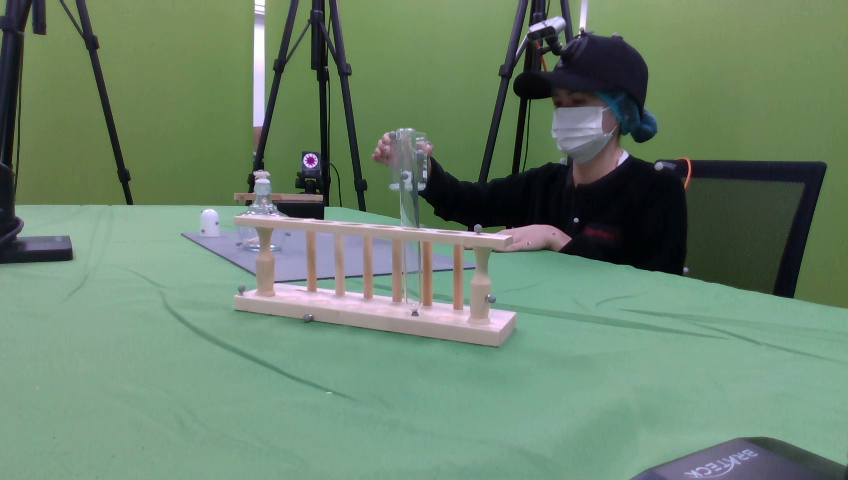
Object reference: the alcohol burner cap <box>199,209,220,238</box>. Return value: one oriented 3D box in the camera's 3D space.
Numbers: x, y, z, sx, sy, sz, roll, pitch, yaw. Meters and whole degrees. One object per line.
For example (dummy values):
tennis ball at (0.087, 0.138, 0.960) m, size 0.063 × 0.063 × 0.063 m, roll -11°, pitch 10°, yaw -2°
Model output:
alcohol burner cap at (-0.356, -0.027, 1.002) m, size 0.034 × 0.048 × 0.034 m, roll 2°, pitch 7°, yaw 0°

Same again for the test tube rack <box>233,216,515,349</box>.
test tube rack at (-0.045, 0.029, 0.526) m, size 0.241 × 0.085 × 0.067 m, roll 5°, pitch 8°, yaw 19°

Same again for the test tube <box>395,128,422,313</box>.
test tube at (-0.013, -0.015, 0.491) m, size 0.017 × 0.150 × 0.017 m, roll -2°, pitch 5°, yaw 1°

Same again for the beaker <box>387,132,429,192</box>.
beaker at (-0.030, -0.139, 1.083) m, size 0.074 × 0.100 × 0.084 m, roll 2°, pitch 1°, yaw 10°

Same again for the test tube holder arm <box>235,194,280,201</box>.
test tube holder arm at (-0.336, -0.086, 1.221) m, size 0.088 × 0.015 × 0.010 m, roll -1°, pitch 16°, yaw -29°

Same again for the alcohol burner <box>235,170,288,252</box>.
alcohol burner at (-0.236, -0.042, 0.882) m, size 0.078 × 0.119 × 0.078 m, roll 2°, pitch 9°, yaw 0°

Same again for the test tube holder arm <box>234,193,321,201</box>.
test tube holder arm at (-0.299, -0.088, 1.248) m, size 0.179 × 0.015 × 0.013 m, roll -1°, pitch 16°, yaw -30°
